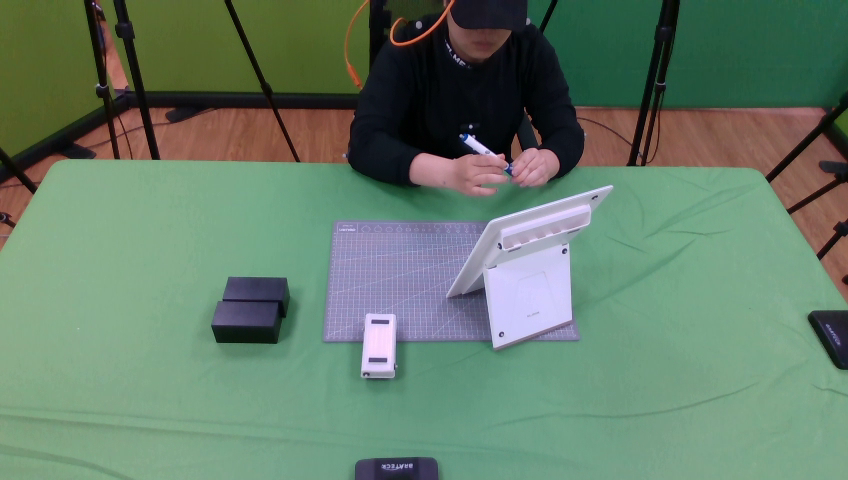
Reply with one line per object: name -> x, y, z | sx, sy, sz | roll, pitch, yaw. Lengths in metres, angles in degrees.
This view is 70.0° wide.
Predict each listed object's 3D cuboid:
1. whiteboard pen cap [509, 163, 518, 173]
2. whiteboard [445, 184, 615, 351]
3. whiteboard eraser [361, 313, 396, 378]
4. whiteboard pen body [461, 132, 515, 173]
whiteboard pen cap -> 0.173, -0.138, 1.171 | 0.018, 0.033, 0.018 | -1, 84, 11
whiteboard -> 0.187, 0.065, 0.989 | 0.217, 0.306, 0.143 | -16, 68, -18
whiteboard eraser -> -0.074, 0.176, 1.006 | 0.055, 0.042, 0.112 | 2, 49, -4
whiteboard pen body -> 0.123, -0.161, 1.136 | 0.141, 0.017, 0.017 | 30, 37, -31
